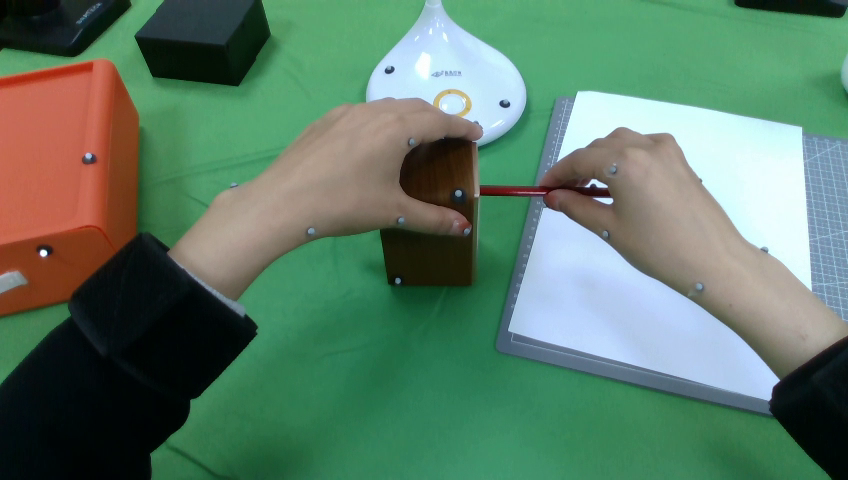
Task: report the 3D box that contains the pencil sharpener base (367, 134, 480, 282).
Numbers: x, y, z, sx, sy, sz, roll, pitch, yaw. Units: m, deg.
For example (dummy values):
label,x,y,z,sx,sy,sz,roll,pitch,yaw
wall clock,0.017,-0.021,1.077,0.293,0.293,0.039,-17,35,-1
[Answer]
label,x,y,z,sx,sy,sz,roll,pitch,yaw
pencil sharpener base,0.001,-0.020,0.450,0.077,0.108,0.061,-1,52,2

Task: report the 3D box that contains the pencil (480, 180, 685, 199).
label,x,y,z,sx,sy,sz,roll,pitch,yaw
pencil,0.086,-0.037,0.427,0.194,0.012,0.012,2,51,0

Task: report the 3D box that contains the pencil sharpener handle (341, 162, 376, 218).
label,x,y,z,sx,sy,sz,roll,pitch,yaw
pencil sharpener handle,-0.050,-0.031,0.444,0.030,0.068,0.035,-1,70,2

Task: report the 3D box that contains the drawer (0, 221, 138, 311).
label,x,y,z,sx,sy,sz,roll,pitch,yaw
drawer,-0.345,-0.042,0.497,0.195,0.074,0.209,-14,52,-8

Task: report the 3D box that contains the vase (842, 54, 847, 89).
label,x,y,z,sx,sy,sz,roll,pitch,yaw
vase,0.454,-0.209,0.525,0.098,0.202,0.097,-2,50,2

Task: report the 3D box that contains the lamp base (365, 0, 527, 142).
label,x,y,z,sx,sy,sz,roll,pitch,yaw
lamp base,0.016,-0.208,0.552,0.161,0.182,0.177,-13,50,-8

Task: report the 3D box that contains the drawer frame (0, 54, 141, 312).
label,x,y,z,sx,sy,sz,roll,pitch,yaw
drawer frame,-0.347,-0.044,0.498,0.202,0.083,0.211,-14,52,-8
